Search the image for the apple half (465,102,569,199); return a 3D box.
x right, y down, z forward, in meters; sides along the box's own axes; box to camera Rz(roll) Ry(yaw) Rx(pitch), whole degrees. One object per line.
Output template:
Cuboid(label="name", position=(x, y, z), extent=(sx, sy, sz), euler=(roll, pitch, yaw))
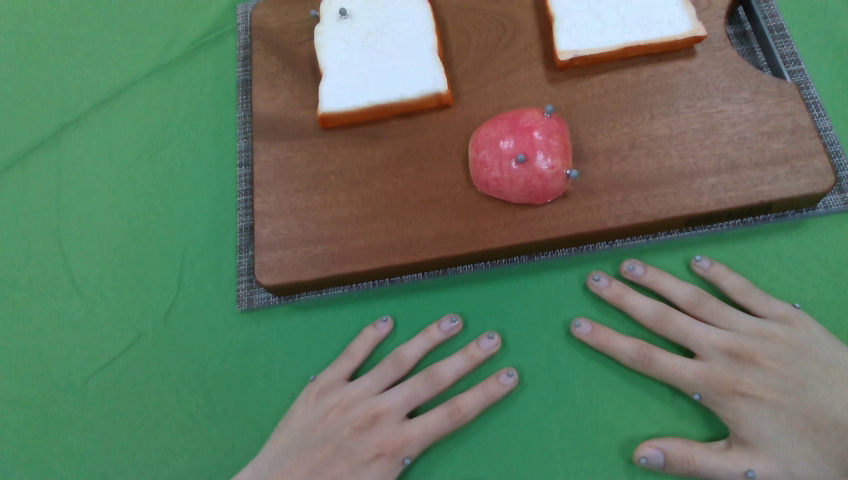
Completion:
Cuboid(label="apple half", position=(0.065, -0.068, 0.419), extent=(0.081, 0.033, 0.080), euler=(-2, 69, 5))

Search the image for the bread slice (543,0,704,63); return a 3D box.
Cuboid(label="bread slice", position=(0.139, -0.198, 0.468), extent=(0.107, 0.018, 0.133), euler=(-12, 66, 4))

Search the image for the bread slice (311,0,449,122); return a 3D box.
Cuboid(label="bread slice", position=(-0.041, -0.159, 0.481), extent=(0.105, 0.019, 0.130), euler=(-10, 68, 3))
